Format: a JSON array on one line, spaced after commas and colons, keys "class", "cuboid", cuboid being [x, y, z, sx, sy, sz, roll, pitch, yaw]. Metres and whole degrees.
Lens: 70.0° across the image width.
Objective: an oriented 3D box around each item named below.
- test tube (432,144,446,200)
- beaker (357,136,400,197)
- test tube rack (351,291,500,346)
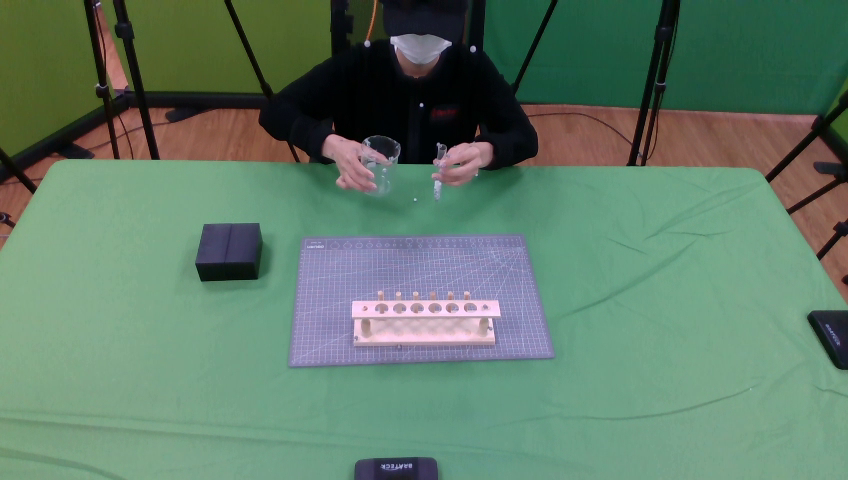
[{"class": "test tube", "cuboid": [0.027, -0.120, 1.099, 0.017, 0.151, 0.017, 2, 57, -3]}, {"class": "beaker", "cuboid": [-0.088, -0.141, 1.171, 0.084, 0.100, 0.073, -24, 59, -29]}, {"class": "test tube rack", "cuboid": [0.001, 0.129, 1.026, 0.242, 0.085, 0.066, 0, 46, -4]}]
